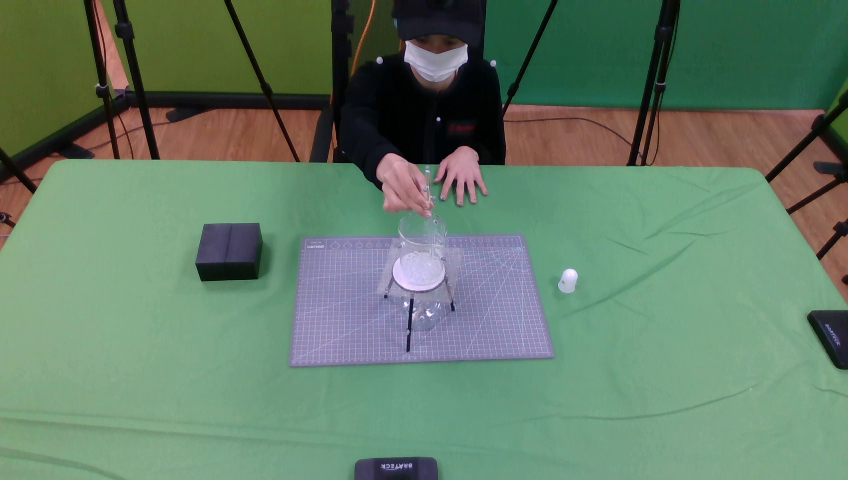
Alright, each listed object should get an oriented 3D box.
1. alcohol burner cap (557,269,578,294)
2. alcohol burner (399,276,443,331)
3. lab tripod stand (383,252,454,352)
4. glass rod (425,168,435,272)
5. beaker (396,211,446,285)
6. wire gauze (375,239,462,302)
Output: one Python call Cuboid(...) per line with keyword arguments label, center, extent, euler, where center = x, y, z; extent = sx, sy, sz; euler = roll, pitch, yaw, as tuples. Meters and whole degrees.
Cuboid(label="alcohol burner cap", center=(0.270, 0.075, 1.135), extent=(0.034, 0.048, 0.033), euler=(3, 46, -3))
Cuboid(label="alcohol burner", center=(-0.004, 0.101, 1.033), extent=(0.078, 0.119, 0.077), euler=(3, 48, -3))
Cuboid(label="lab tripod stand", center=(-0.016, 0.094, 1.025), extent=(0.148, 0.132, 0.147), euler=(1, 46, -1))
Cuboid(label="glass rod", center=(0.009, -0.024, 0.900), extent=(0.008, 0.201, 0.008), euler=(-2, 42, 2))
Cuboid(label="beaker", center=(-0.002, 0.017, 0.941), extent=(0.083, 0.101, 0.074), euler=(36, 55, 28))
Cuboid(label="wire gauze", center=(-0.006, 0.049, 0.977), extent=(0.121, 0.011, 0.124), euler=(10, 44, 5))
